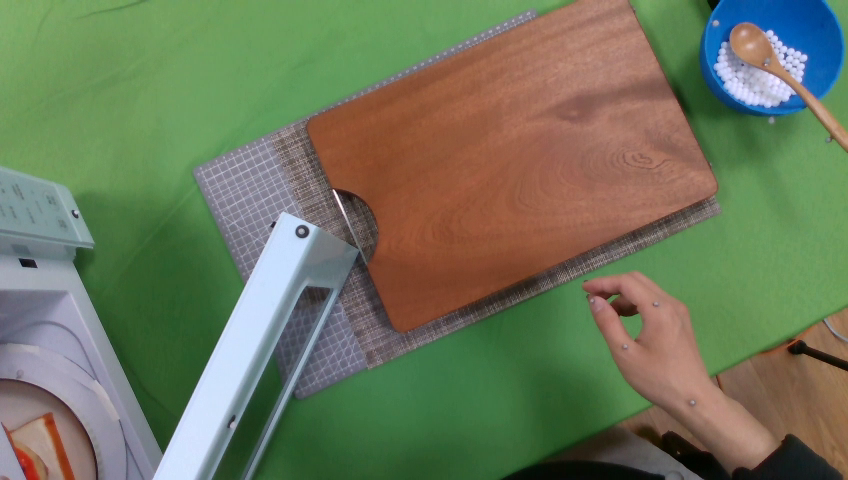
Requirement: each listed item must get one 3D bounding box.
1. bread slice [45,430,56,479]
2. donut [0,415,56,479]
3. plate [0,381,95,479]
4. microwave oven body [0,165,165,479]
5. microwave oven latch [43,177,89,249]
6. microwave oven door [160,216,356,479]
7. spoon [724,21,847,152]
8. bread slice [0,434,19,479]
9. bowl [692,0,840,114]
[{"bbox_3d":[-0.442,0.251,0.615,0.131,0.019,0.104,-3,86,0],"label":"bread slice"},{"bbox_3d":[-0.415,0.223,0.595,0.099,0.048,0.098,0,81,1],"label":"donut"},{"bbox_3d":[-0.437,0.246,0.614,0.208,0.039,0.207,0,84,-3],"label":"plate"},{"bbox_3d":[-0.464,0.186,0.570,0.326,0.260,0.441,-27,87,-2],"label":"microwave oven body"},{"bbox_3d":[-0.412,-0.030,0.681,0.030,0.029,0.079,-28,87,-2],"label":"microwave oven latch"},{"bbox_3d":[-0.167,0.152,0.565,0.039,0.244,0.355,24,86,3],"label":"microwave oven door"},{"bbox_3d":[0.390,-0.166,0.649,0.041,0.022,0.192,-27,63,-3],"label":"spoon"},{"bbox_3d":[-0.433,0.227,0.555,0.134,0.018,0.107,-27,88,9],"label":"bread slice"},{"bbox_3d":[0.368,-0.207,0.682,0.151,0.077,0.151,0,86,1],"label":"bowl"}]
